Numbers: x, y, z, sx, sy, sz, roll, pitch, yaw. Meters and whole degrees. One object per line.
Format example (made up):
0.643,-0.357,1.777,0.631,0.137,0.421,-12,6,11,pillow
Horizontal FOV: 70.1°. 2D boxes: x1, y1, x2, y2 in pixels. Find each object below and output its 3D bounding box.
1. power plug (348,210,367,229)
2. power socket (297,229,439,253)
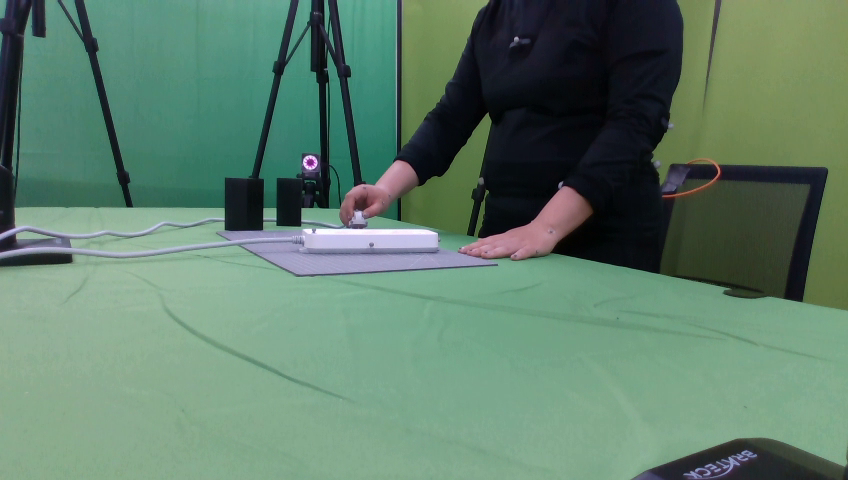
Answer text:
-0.121,-0.028,1.129,0.035,0.052,0.072,-1,-10,2,power plug
-0.084,0.000,0.941,0.228,0.032,0.072,0,7,-20,power socket
